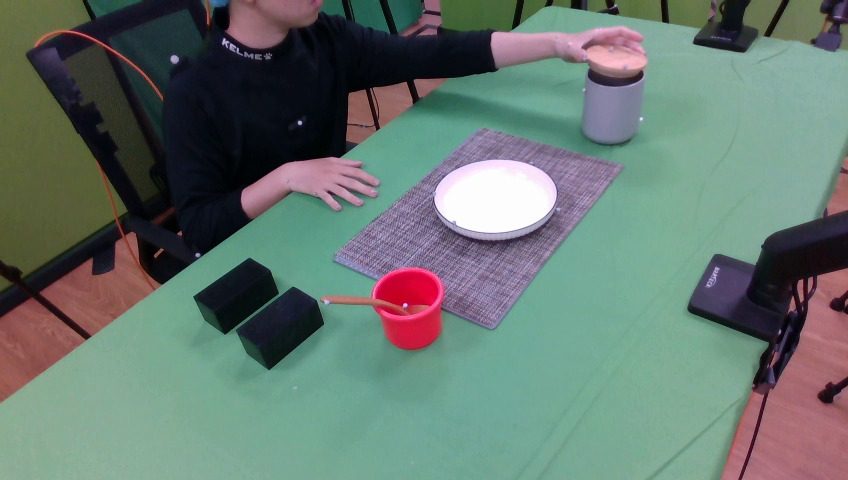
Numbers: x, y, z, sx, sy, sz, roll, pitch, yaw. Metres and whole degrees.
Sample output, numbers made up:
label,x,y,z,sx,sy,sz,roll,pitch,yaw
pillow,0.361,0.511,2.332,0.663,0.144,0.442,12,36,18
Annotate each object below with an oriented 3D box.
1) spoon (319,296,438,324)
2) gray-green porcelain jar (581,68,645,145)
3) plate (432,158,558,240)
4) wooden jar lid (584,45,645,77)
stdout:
label,x,y,z,sx,sy,sz,roll,pitch,yaw
spoon,-0.055,0.086,0.784,0.195,0.021,0.041,19,19,-44
gray-green porcelain jar,0.351,-0.251,1.132,0.106,0.127,0.105,-4,41,4
plate,0.118,-0.066,1.013,0.207,0.039,0.206,-4,41,4
wooden jar lid,0.338,-0.318,1.078,0.108,0.021,0.108,4,40,-3
